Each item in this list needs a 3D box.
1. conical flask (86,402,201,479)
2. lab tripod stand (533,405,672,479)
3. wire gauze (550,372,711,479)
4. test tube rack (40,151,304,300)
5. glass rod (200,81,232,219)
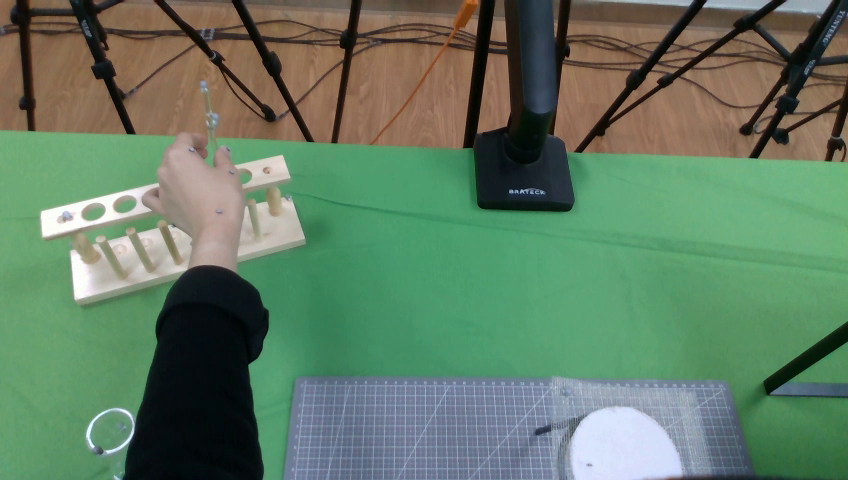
[{"bbox_3d":[-0.239,0.172,0.508,0.075,0.123,0.074,2,57,-3],"label":"conical flask"},{"bbox_3d":[0.143,0.202,0.510,0.148,0.132,0.147,3,56,-4],"label":"lab tripod stand"},{"bbox_3d":[0.155,0.162,0.456,0.121,0.011,0.124,7,57,-2],"label":"wire gauze"},{"bbox_3d":[-0.260,-0.017,0.650,0.243,0.086,0.066,-16,60,-14],"label":"test tube rack"},{"bbox_3d":[-0.209,-0.082,0.618,0.008,0.201,0.008,5,55,-7],"label":"glass rod"}]
